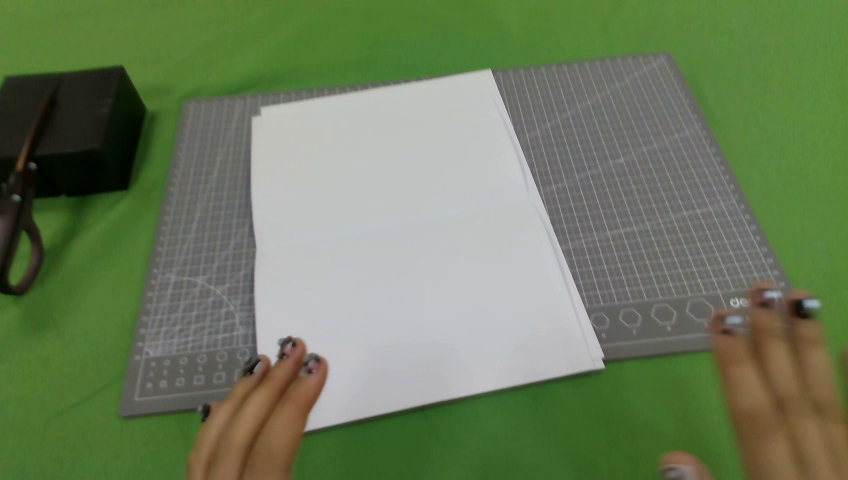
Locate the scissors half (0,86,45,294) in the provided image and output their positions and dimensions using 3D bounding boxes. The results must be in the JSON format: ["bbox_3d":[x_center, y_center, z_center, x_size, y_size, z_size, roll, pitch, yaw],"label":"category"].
[{"bbox_3d":[-0.299,-0.043,0.457,0.013,0.040,0.174,-8,71,8],"label":"scissors half"}]

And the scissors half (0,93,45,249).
[{"bbox_3d":[-0.302,-0.052,0.438,0.013,0.040,0.173,-6,54,3],"label":"scissors half"}]
